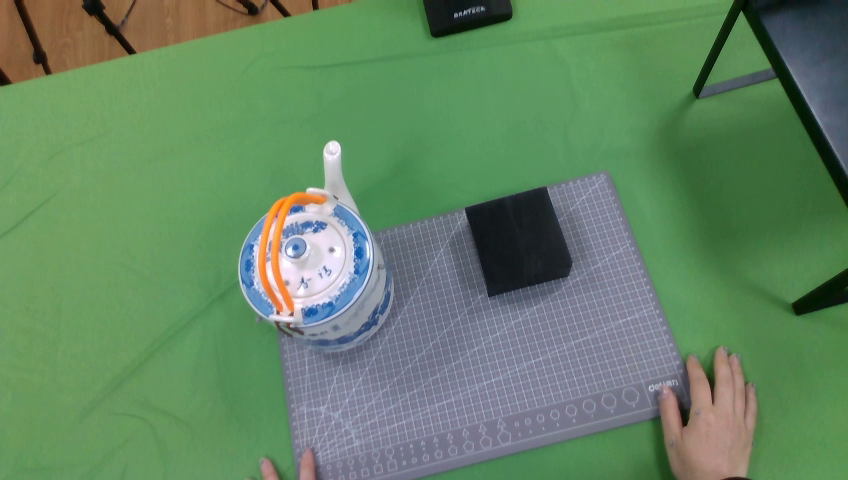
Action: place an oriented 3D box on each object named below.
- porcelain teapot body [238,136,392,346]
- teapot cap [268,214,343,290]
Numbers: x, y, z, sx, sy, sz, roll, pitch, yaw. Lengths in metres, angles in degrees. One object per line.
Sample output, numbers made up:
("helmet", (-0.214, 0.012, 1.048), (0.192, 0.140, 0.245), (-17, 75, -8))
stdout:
("porcelain teapot body", (-0.115, -0.003, 0.654), (0.145, 0.227, 0.204), (7, 70, 9))
("teapot cap", (-0.125, 0.010, 0.608), (0.085, 0.044, 0.084), (-4, 67, 9))
